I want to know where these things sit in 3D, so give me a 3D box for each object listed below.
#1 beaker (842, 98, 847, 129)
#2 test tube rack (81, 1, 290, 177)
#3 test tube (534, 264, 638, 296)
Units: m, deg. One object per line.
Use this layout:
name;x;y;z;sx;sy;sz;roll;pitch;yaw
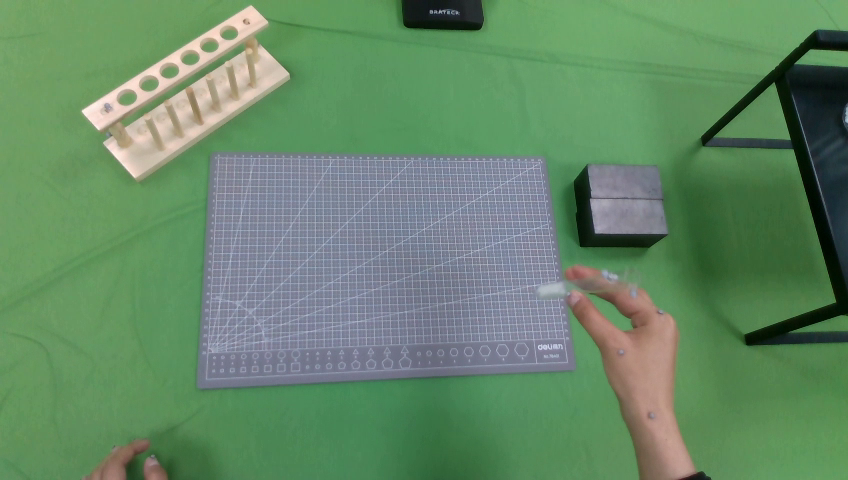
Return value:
beaker;0.534;-0.159;0.681;0.084;0.100;0.073;-5;71;-10
test tube rack;-0.287;-0.190;0.760;0.242;0.085;0.066;-42;80;-19
test tube;0.138;0.037;0.541;0.017;0.150;0.017;3;80;-18
